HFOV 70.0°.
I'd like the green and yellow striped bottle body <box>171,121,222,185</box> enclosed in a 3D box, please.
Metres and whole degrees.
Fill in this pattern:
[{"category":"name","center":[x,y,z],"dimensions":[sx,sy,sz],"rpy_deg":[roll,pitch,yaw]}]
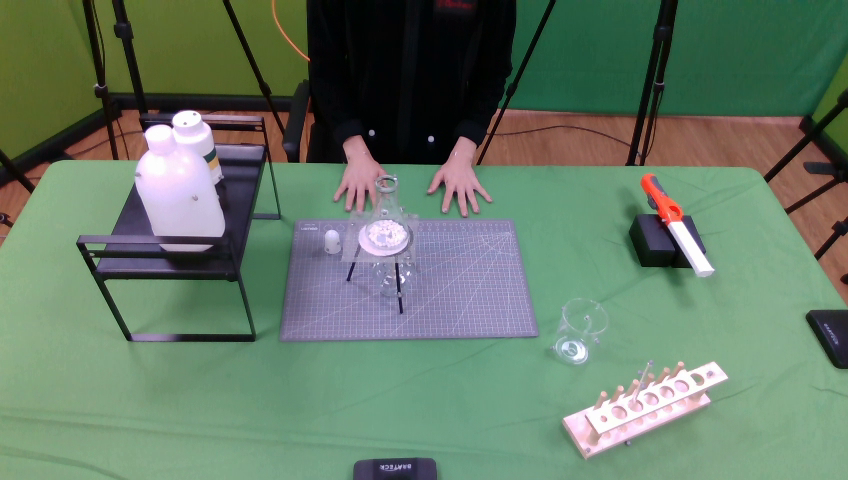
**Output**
[{"category":"green and yellow striped bottle body","center":[-0.375,-0.149,0.995],"dimensions":[0.063,0.120,0.063],"rpy_deg":[2,46,-2]}]

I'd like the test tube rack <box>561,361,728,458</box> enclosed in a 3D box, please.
[{"category":"test tube rack","center":[0.341,0.248,0.940],"dimensions":[0.243,0.085,0.066],"rpy_deg":[-15,49,-18]}]

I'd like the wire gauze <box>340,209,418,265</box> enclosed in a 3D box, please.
[{"category":"wire gauze","center":[-0.074,-0.006,1.024],"dimensions":[0.121,0.011,0.124],"rpy_deg":[2,48,1]}]

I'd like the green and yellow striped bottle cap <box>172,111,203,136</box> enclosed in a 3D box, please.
[{"category":"green and yellow striped bottle cap","center":[-0.374,-0.185,0.958],"dimensions":[0.045,0.020,0.045],"rpy_deg":[3,46,-3]}]

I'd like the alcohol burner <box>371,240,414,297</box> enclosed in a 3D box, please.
[{"category":"alcohol burner","center":[-0.057,0.046,1.082],"dimensions":[0.078,0.120,0.077],"rpy_deg":[0,46,0]}]

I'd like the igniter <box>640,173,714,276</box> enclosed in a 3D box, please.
[{"category":"igniter","center":[0.495,-0.039,1.204],"dimensions":[0.057,0.025,0.274],"rpy_deg":[-2,47,-12]}]

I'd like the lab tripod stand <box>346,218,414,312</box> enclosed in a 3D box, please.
[{"category":"lab tripod stand","center":[-0.069,0.037,1.075],"dimensions":[0.148,0.132,0.147],"rpy_deg":[1,47,-1]}]

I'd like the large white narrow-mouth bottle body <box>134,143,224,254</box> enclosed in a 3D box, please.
[{"category":"large white narrow-mouth bottle body","center":[-0.358,-0.075,0.875],"dimensions":[0.102,0.195,0.101],"rpy_deg":[1,48,-1]}]

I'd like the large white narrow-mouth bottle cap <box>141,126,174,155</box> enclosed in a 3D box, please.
[{"category":"large white narrow-mouth bottle cap","center":[-0.356,-0.134,0.811],"dimensions":[0.038,0.024,0.037],"rpy_deg":[1,48,-1]}]

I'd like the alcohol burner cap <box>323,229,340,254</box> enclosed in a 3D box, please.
[{"category":"alcohol burner cap","center":[-0.179,0.001,1.165],"dimensions":[0.034,0.048,0.033],"rpy_deg":[2,45,-2]}]

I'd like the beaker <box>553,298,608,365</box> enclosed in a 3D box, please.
[{"category":"beaker","center":[0.260,0.154,1.015],"dimensions":[0.073,0.101,0.084],"rpy_deg":[37,54,27]}]

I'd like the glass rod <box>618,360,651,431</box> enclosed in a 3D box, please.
[{"category":"glass rod","center":[0.298,0.227,0.865],"dimensions":[0.008,0.201,0.008],"rpy_deg":[-2,48,2]}]

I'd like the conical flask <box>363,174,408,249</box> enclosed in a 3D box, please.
[{"category":"conical flask","center":[-0.063,-0.050,0.985],"dimensions":[0.075,0.122,0.075],"rpy_deg":[2,46,-1]}]
